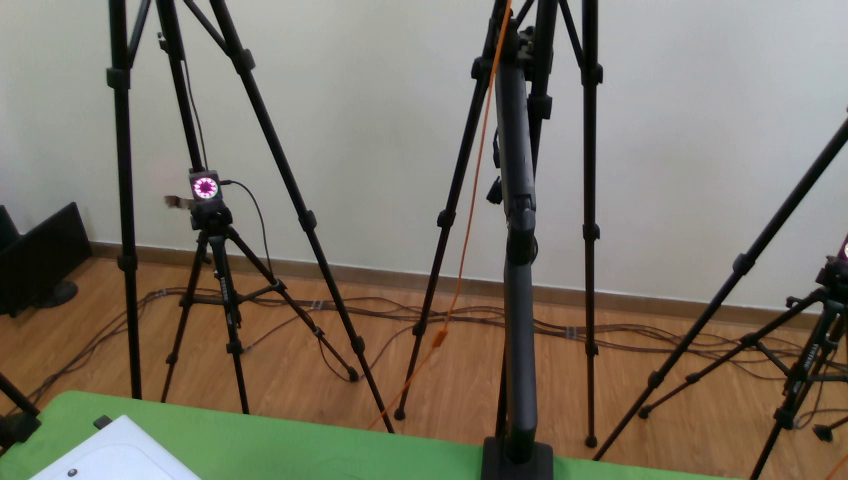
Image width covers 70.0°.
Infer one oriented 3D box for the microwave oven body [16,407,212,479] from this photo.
[{"bbox_3d":[-0.415,0.463,0.663,0.323,0.262,0.441,24,42,28],"label":"microwave oven body"}]
